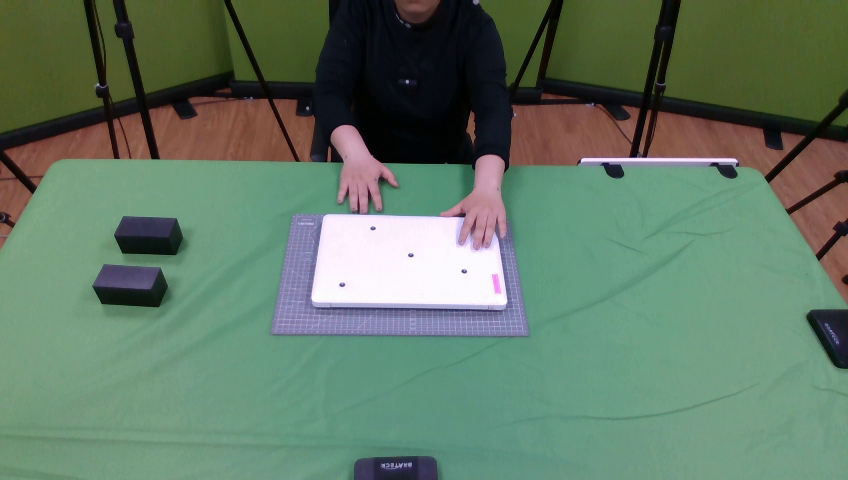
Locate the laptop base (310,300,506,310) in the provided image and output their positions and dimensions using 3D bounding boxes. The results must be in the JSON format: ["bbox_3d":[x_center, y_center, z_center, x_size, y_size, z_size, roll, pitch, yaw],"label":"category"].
[{"bbox_3d":[-0.029,0.043,1.156,0.354,0.023,0.234,1,42,-3],"label":"laptop base"}]

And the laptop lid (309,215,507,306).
[{"bbox_3d":[-0.028,0.033,1.149,0.357,0.013,0.240,3,44,-2],"label":"laptop lid"}]
